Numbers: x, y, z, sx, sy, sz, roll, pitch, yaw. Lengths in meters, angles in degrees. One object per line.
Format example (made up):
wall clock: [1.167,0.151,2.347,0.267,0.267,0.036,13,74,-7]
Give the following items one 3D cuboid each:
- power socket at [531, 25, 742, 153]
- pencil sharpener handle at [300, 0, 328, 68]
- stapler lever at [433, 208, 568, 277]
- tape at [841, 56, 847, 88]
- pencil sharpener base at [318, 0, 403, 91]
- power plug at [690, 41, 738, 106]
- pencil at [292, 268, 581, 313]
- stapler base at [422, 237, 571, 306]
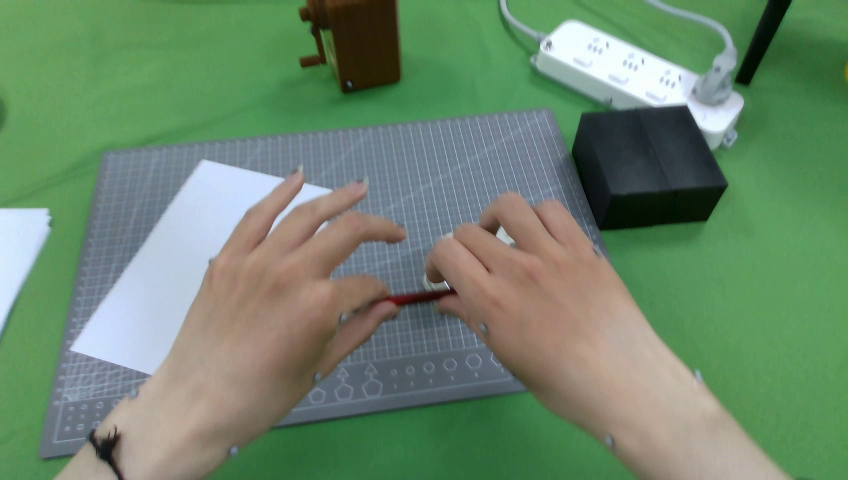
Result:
power socket: [0.221,-0.163,0.637,0.225,0.033,0.072,34,60,22]
pencil sharpener handle: [-0.114,-0.206,0.602,0.031,0.068,0.035,-16,33,-11]
stapler lever: [0.063,-0.002,0.489,0.118,0.040,0.026,-20,57,-16]
tape: [0.517,-0.186,0.644,0.117,0.053,0.115,0,55,0]
pencil sharpener base: [-0.068,-0.216,0.626,0.077,0.108,0.060,-16,56,-11]
power plug: [0.296,-0.157,0.604,0.072,0.053,0.035,-35,61,-22]
pencil: [0.014,0.033,0.392,0.194,0.012,0.012,-6,54,-15]
stapler base: [0.062,0.014,0.509,0.131,0.024,0.041,-20,58,-16]
